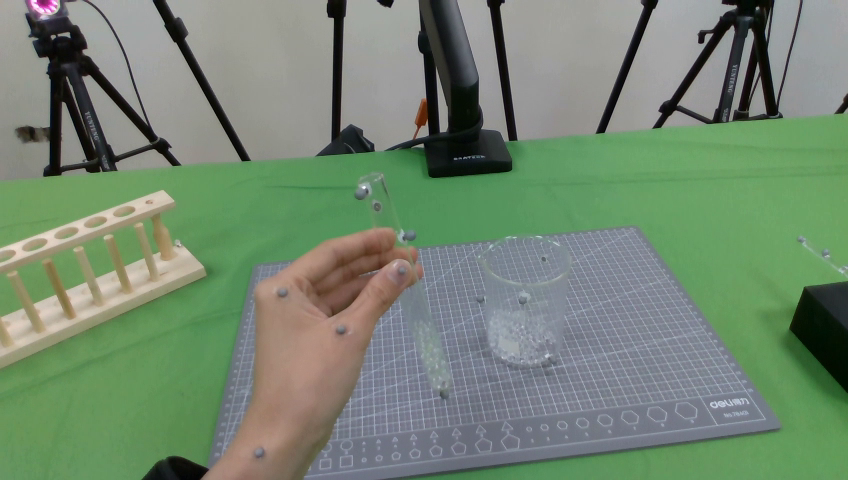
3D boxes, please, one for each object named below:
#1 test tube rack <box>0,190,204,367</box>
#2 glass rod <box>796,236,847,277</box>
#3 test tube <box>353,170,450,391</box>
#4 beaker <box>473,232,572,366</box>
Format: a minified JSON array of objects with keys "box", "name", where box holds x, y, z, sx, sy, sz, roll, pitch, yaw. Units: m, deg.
[{"box":[-0.360,0.040,0.613,0.242,0.086,0.066,-27,41,-31],"name":"test tube rack"},{"box":[0.392,0.050,0.513,0.008,0.008,0.197,-11,35,-11],"name":"glass rod"},{"box":[-0.010,0.030,0.355,0.017,0.151,0.017,-15,26,7],"name":"test tube"},{"box":[0.085,0.054,0.537,0.083,0.101,0.073,7,35,16],"name":"beaker"}]
